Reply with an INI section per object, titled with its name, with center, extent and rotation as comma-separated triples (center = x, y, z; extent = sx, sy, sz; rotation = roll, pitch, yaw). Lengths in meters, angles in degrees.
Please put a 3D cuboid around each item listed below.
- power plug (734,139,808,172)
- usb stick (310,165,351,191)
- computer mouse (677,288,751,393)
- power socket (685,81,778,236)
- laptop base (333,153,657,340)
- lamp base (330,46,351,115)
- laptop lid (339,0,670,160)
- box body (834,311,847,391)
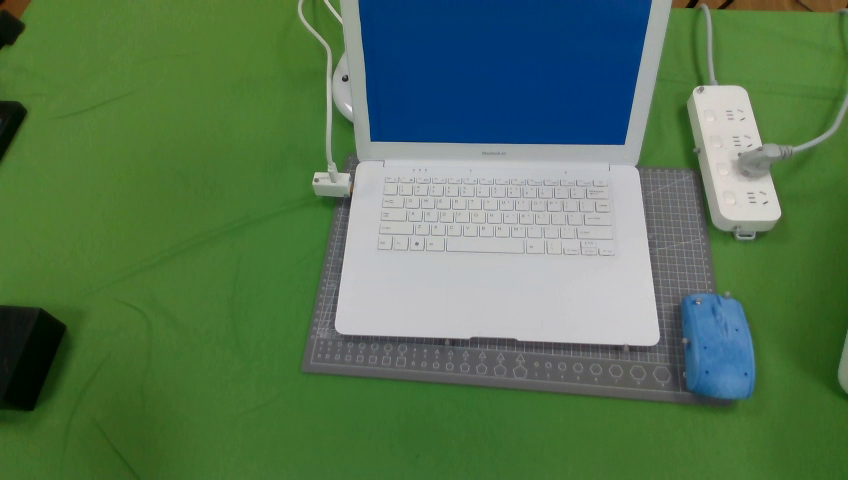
[power plug]
center = 0.405, -0.093, 0.714
extent = 0.072, 0.053, 0.035
rotation = 11, 61, 7
[usb stick]
center = -0.108, -0.076, 0.749
extent = 0.059, 0.027, 0.021
rotation = 6, 56, 3
[computer mouse]
center = 0.302, 0.101, 0.633
extent = 0.062, 0.041, 0.116
rotation = 6, 58, 8
[power socket]
center = 0.378, -0.111, 0.752
extent = 0.072, 0.033, 0.225
rotation = 2, 61, 2
[laptop base]
center = 0.081, 0.002, 0.712
extent = 0.354, 0.023, 0.233
rotation = 2, 65, 4
[lamp base]
center = -0.061, -0.271, 0.778
extent = 0.160, 0.182, 0.177
rotation = -31, 61, -14
[laptop lid]
center = 0.084, -0.194, 0.695
extent = 0.356, 0.244, 0.013
rotation = 0, 38, 4
[box body]
center = 0.594, 0.029, 0.589
extent = 0.253, 0.162, 0.362
rotation = 26, 65, 16
